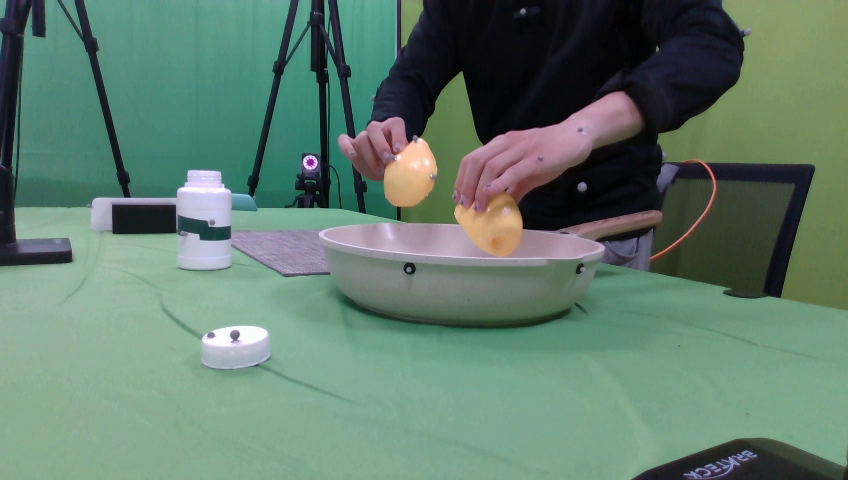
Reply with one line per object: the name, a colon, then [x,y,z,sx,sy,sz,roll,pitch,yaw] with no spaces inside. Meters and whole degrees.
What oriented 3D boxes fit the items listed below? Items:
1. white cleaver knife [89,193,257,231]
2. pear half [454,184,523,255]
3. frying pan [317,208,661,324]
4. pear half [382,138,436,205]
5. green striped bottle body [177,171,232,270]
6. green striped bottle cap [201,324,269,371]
white cleaver knife: [-0.454,-0.052,1.115,0.288,0.066,0.021,-4,15,-27]
pear half: [0.071,-0.039,0.668,0.077,0.056,0.109,26,24,-41]
frying pan: [0.121,0.005,0.691,0.490,0.102,0.305,-13,15,-33]
pear half: [-0.022,-0.085,0.711,0.070,0.088,0.031,9,-11,23]
green striped bottle body: [-0.273,-0.026,0.752,0.063,0.119,0.063,2,7,0]
green striped bottle cap: [-0.129,0.073,0.415,0.044,0.020,0.044,2,8,0]
